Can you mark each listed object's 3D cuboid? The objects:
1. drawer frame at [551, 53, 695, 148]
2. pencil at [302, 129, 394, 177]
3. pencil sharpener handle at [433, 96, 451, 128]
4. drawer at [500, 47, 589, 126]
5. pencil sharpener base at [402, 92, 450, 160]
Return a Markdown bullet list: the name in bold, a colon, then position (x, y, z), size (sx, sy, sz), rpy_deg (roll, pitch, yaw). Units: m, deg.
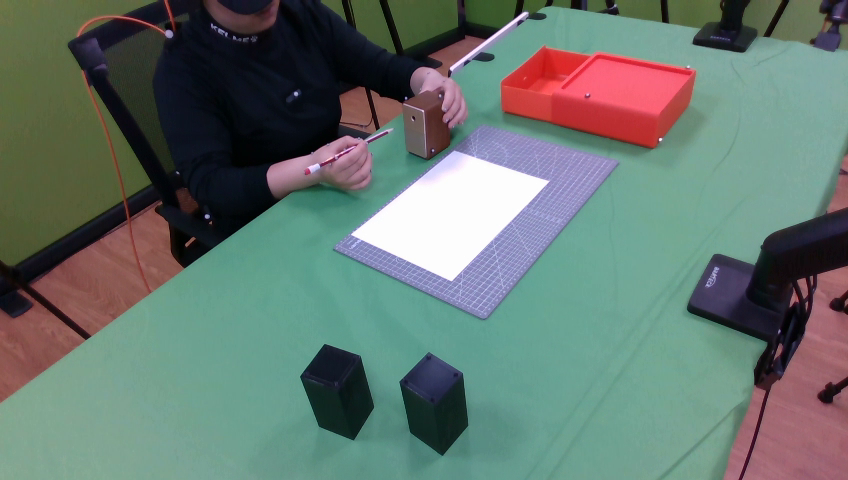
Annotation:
- **drawer frame**: position (0.390, -0.281, 1.196), size (0.212, 0.083, 0.202), rpy_deg (22, 48, 29)
- **pencil**: position (-0.128, -0.155, 1.048), size (0.195, 0.012, 0.012), rpy_deg (-32, 46, -27)
- **pencil sharpener handle**: position (0.039, -0.254, 1.184), size (0.035, 0.068, 0.031), rpy_deg (29, 48, 31)
- **drawer**: position (0.295, -0.316, 1.255), size (0.210, 0.073, 0.195), rpy_deg (22, 47, 29)
- **pencil sharpener base**: position (0.007, -0.220, 1.161), size (0.061, 0.107, 0.077), rpy_deg (26, 46, 34)
